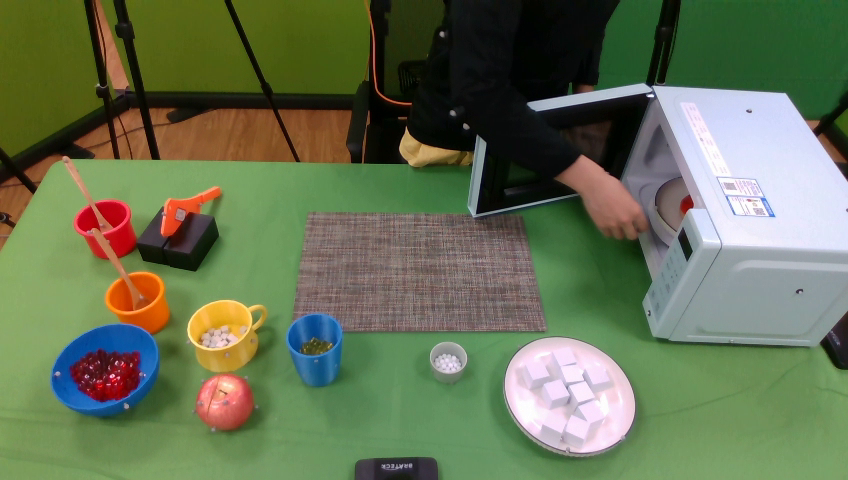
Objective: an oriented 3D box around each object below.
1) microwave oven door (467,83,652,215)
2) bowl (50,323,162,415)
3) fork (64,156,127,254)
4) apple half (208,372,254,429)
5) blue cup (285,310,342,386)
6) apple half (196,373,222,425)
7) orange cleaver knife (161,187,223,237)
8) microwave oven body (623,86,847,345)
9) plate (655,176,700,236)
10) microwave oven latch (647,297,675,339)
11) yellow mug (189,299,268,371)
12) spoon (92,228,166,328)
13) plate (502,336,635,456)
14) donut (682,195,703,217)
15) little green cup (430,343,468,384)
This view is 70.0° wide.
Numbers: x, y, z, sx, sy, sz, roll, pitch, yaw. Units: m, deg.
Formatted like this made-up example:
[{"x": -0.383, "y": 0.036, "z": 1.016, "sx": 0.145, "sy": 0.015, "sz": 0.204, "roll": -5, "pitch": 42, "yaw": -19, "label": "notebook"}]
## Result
[{"x": 0.267, "y": -0.181, "z": 1.214, "sx": 0.356, "sy": 0.245, "sz": 0.039, "roll": -12, "pitch": 49, "yaw": -15, "label": "microwave oven door"}, {"x": -0.472, "y": 0.209, "z": 0.924, "sx": 0.151, "sy": 0.077, "sz": 0.150, "roll": 3, "pitch": 45, "yaw": -2, "label": "bowl"}, {"x": -0.614, "y": -0.064, "z": 1.130, "sx": 0.028, "sy": 0.018, "sz": 0.207, "roll": -29, "pitch": 97, "yaw": -16, "label": "fork"}, {"x": -0.282, "y": 0.243, "z": 0.908, "sx": 0.053, "sy": 0.075, "sz": 0.080, "roll": 7, "pitch": 43, "yaw": -1, "label": "apple half"}, {"x": -0.169, "y": 0.179, "z": 0.958, "sx": 0.093, "sy": 0.101, "sz": 0.092, "roll": 1, "pitch": 44, "yaw": -1, "label": "blue cup"}, {"x": -0.322, "y": 0.239, "z": 0.907, "sx": 0.033, "sy": 0.081, "sz": 0.081, "roll": 7, "pitch": 46, "yaw": -1, "label": "apple half"}, {"x": -0.448, "y": -0.058, "z": 1.180, "sx": 0.012, "sy": 0.077, "sz": 0.211, "roll": 13, "pitch": 17, "yaw": 6, "label": "orange cleaver knife"}, {"x": 0.567, "y": -0.053, "z": 1.118, "sx": 0.326, "sy": 0.261, "sz": 0.439, "roll": 2, "pitch": 45, "yaw": -1, "label": "microwave oven body"}, {"x": 0.556, "y": -0.044, "z": 1.188, "sx": 0.209, "sy": 0.038, "sz": 0.208, "roll": 3, "pitch": 47, "yaw": -3, "label": "plate"}, {"x": 0.413, "y": 0.134, "z": 1.060, "sx": 0.030, "sy": 0.029, "sz": 0.078, "roll": 5, "pitch": 45, "yaw": 2, "label": "microwave oven latch"}, {"x": -0.316, "y": 0.148, "z": 1.002, "sx": 0.131, "sy": 0.064, "sz": 0.099, "roll": -33, "pitch": 56, "yaw": -31, "label": "yellow mug"}, {"x": -0.496, "y": 0.063, "z": 1.014, "sx": 0.041, "sy": 0.194, "sz": 0.021, "roll": -34, "pitch": 13, "yaw": -32, "label": "spoon"}, {"x": 0.225, "y": 0.248, "z": 0.963, "sx": 0.208, "sy": 0.039, "sz": 0.206, "roll": 2, "pitch": 46, "yaw": -2, "label": "plate"}, {"x": 0.552, "y": -0.054, "z": 1.178, "sx": 0.099, "sy": 0.048, "sz": 0.098, "roll": 1, "pitch": 36, "yaw": 0, "label": "donut"}, {"x": 0.039, "y": 0.203, "z": 0.993, "sx": 0.061, "sy": 0.039, "sz": 0.061, "roll": 2, "pitch": 46, "yaw": -2, "label": "little green cup"}]
